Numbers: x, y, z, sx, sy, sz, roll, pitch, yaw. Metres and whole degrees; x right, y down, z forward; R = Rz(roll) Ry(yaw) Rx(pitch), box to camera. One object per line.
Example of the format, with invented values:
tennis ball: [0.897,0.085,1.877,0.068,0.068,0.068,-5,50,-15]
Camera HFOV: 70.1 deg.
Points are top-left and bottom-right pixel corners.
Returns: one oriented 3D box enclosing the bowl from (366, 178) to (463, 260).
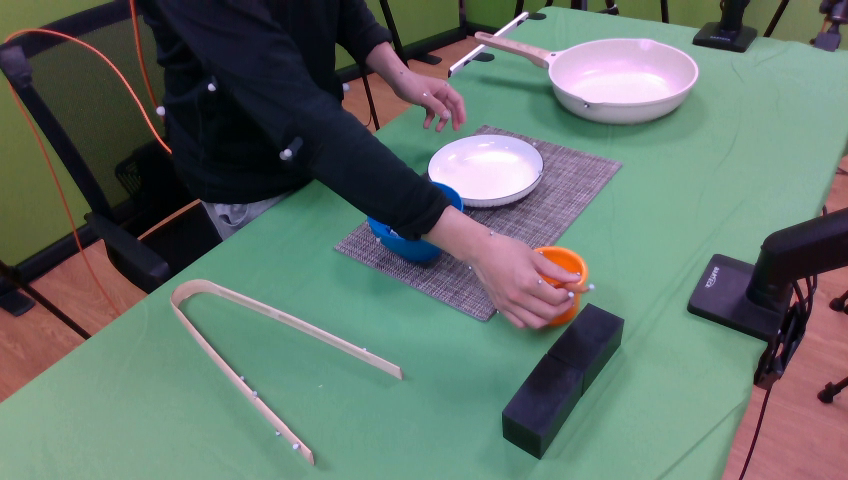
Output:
bowl: [-0.011,-0.022,0.945,0.151,0.077,0.150,-4,41,4]

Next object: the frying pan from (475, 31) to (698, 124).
frying pan: [0.320,-0.371,1.290,0.485,0.103,0.307,28,50,23]

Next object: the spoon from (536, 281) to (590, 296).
spoon: [0.178,0.061,0.773,0.041,0.194,0.021,-6,84,0]

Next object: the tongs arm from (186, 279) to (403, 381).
tongs arm: [-0.193,0.121,0.853,0.385,0.028,0.028,18,48,26]

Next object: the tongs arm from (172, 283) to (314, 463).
tongs arm: [-0.246,0.161,0.806,0.381,0.026,0.051,29,50,36]

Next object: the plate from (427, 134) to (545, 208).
plate: [0.109,-0.119,1.073,0.207,0.039,0.206,-4,40,4]
